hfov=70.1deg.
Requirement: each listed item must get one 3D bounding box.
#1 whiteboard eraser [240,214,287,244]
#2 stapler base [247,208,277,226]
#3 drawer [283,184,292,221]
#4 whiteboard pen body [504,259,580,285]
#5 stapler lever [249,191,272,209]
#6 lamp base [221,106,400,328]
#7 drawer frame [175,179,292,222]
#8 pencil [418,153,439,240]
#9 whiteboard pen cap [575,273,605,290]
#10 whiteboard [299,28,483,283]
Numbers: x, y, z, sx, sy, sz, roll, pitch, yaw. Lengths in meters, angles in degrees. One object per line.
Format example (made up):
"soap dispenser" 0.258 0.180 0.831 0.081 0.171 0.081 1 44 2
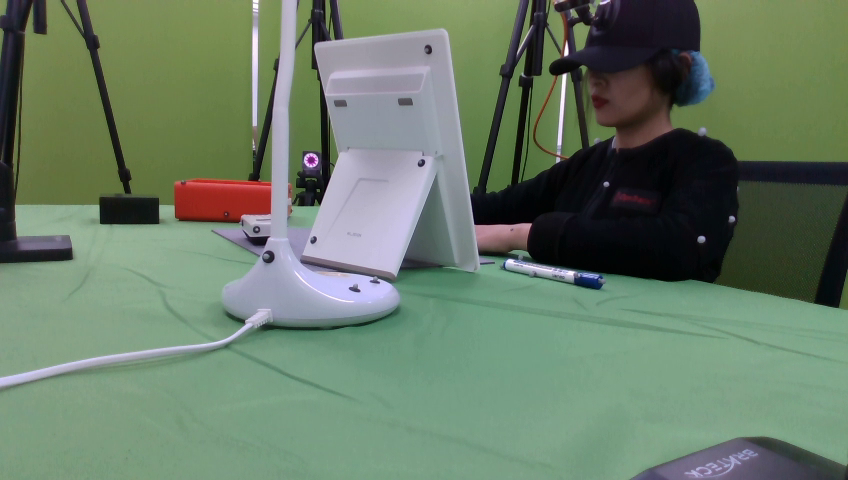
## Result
"whiteboard eraser" -0.256 -0.018 0.958 0.056 0.042 0.112 0 8 -25
"stapler base" -0.350 -0.054 1.310 0.041 0.024 0.130 -1 12 -3
"drawer" -0.397 -0.086 1.314 0.212 0.073 0.194 1 8 -9
"whiteboard pen body" 0.157 0.042 0.764 0.017 0.017 0.140 -4 10 -41
"stapler lever" -0.352 -0.086 1.306 0.027 0.040 0.118 -1 5 -3
"lamp base" -0.101 -0.023 0.531 0.160 0.180 0.179 4 10 10
"drawer frame" -0.402 -0.087 1.311 0.214 0.082 0.201 1 8 -9
"pencil" 0.007 -0.082 1.097 0.012 0.194 0.012 9 -31 6
"whiteboard pen cap" 0.197 0.048 0.719 0.018 0.018 0.033 -4 11 -41
"whiteboard" -0.075 -0.082 0.741 0.216 0.305 0.144 9 29 38
